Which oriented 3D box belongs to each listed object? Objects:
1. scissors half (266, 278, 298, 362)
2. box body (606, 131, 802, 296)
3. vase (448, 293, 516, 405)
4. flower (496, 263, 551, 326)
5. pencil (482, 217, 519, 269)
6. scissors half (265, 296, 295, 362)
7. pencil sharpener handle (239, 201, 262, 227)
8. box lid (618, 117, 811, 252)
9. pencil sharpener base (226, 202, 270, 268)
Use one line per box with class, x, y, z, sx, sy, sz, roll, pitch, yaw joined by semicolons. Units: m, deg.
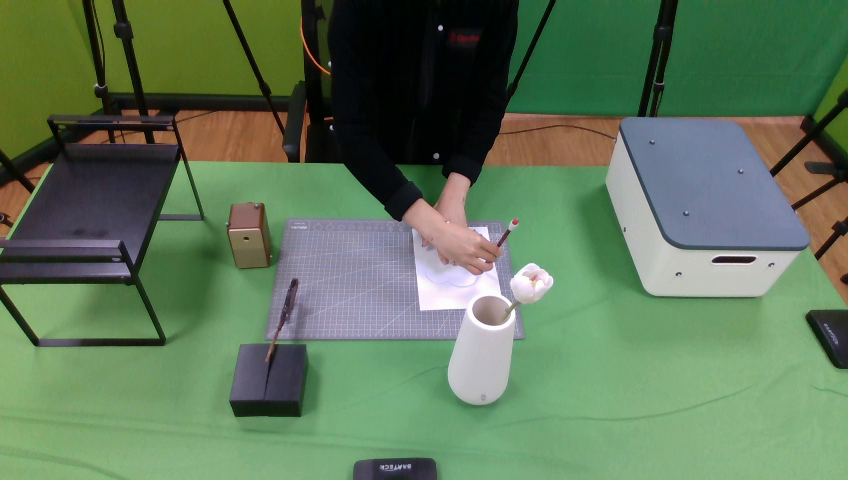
scissors half;-0.234;0.127;0.993;0.013;0.040;0.174;12;46;-4
box body;0.530;-0.067;1.204;0.254;0.161;0.361;0;46;-4
vase;0.091;0.169;0.921;0.098;0.201;0.097;3;47;-3
flower;0.102;0.120;0.853;0.044;0.363;0.038;-2;64;-10
pencil;0.131;0.011;1.077;0.012;0.194;0.012;6;61;-11
scissors half;-0.239;0.143;1.005;0.013;0.040;0.174;17;28;-6
pencil sharpener handle;-0.325;-0.055;1.150;0.036;0.068;0.030;-13;46;4
box lid;0.534;-0.117;1.149;0.263;0.015;0.369;0;47;-3
pencil sharpener base;-0.323;-0.010;1.123;0.061;0.107;0.076;-3;46;-7
